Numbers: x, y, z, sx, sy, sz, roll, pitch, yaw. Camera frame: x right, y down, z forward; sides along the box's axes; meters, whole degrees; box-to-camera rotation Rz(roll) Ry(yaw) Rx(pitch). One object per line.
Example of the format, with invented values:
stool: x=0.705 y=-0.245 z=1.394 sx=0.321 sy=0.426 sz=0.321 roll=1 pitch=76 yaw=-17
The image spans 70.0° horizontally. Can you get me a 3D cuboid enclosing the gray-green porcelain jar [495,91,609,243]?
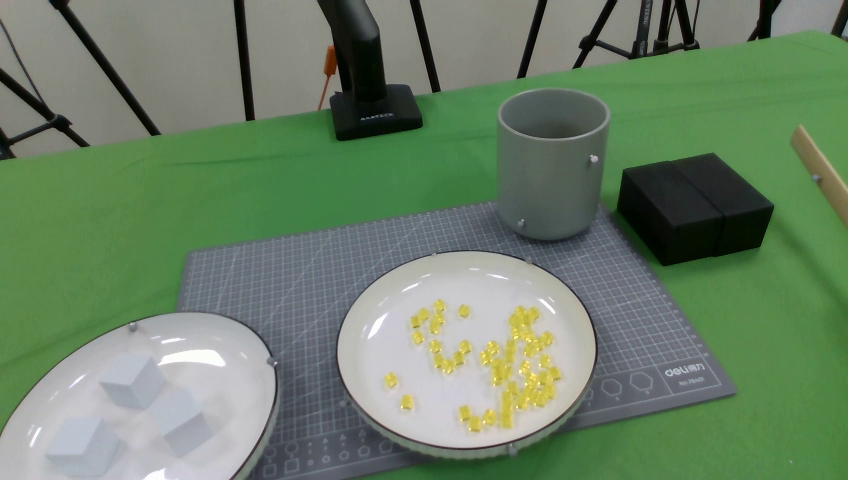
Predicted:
gray-green porcelain jar: x=0.124 y=-0.069 z=0.607 sx=0.106 sy=0.127 sz=0.105 roll=-3 pitch=39 yaw=3

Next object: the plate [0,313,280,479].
plate: x=-0.210 y=0.142 z=0.459 sx=0.209 sy=0.038 sz=0.207 roll=-4 pitch=40 yaw=4

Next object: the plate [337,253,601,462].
plate: x=0.036 y=0.091 z=0.494 sx=0.207 sy=0.039 sz=0.205 roll=-3 pitch=39 yaw=3

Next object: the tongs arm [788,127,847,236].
tongs arm: x=0.390 y=0.029 z=0.491 sx=0.028 sy=0.028 sz=0.383 roll=-3 pitch=45 yaw=0
